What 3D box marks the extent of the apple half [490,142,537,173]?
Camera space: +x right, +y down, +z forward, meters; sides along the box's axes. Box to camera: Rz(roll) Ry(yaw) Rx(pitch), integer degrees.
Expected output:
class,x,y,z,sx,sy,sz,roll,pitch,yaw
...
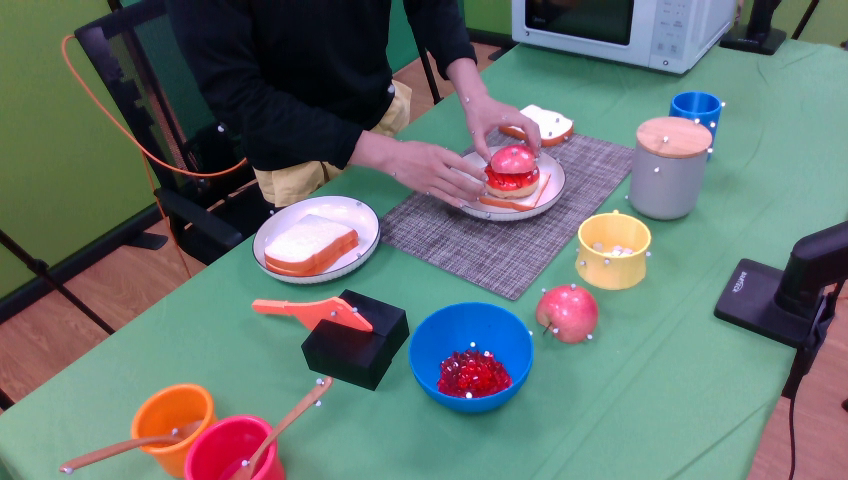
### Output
class,x,y,z,sx,sy,sz,roll,pitch,yaw
apple half,0.146,-0.140,0.989,0.081,0.033,0.081,-4,36,3

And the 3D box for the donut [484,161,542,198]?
class,x,y,z,sx,sy,sz,roll,pitch,yaw
donut,0.149,-0.109,1.016,0.099,0.048,0.098,-4,41,4

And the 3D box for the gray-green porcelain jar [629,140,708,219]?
class,x,y,z,sx,sy,sz,roll,pitch,yaw
gray-green porcelain jar,0.383,-0.105,0.958,0.106,0.127,0.105,-4,41,4

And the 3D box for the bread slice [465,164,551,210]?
class,x,y,z,sx,sy,sz,roll,pitch,yaw
bread slice,0.140,-0.094,1.041,0.133,0.018,0.107,10,42,21

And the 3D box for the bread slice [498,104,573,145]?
class,x,y,z,sx,sy,sz,roll,pitch,yaw
bread slice,0.231,-0.231,1.205,0.105,0.019,0.130,-36,47,-29

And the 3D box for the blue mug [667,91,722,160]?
class,x,y,z,sx,sy,sz,roll,pitch,yaw
blue mug,0.473,-0.207,1.079,0.082,0.106,0.116,4,42,13

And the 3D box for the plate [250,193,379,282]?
class,x,y,z,sx,sy,sz,roll,pitch,yaw
plate,-0.174,-0.001,0.984,0.209,0.038,0.208,-3,40,3

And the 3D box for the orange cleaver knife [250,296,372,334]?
class,x,y,z,sx,sy,sz,roll,pitch,yaw
orange cleaver knife,-0.158,0.103,0.828,0.210,0.078,0.012,-4,43,39

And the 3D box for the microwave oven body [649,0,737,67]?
class,x,y,z,sx,sy,sz,roll,pitch,yaw
microwave oven body,0.475,-0.602,1.411,0.438,0.261,0.327,23,50,32

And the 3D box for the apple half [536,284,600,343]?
class,x,y,z,sx,sy,sz,roll,pitch,yaw
apple half,0.196,0.091,0.815,0.075,0.053,0.080,-22,42,-20

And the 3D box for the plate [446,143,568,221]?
class,x,y,z,sx,sy,sz,roll,pitch,yaw
plate,0.142,-0.097,1.045,0.207,0.039,0.206,-4,41,4

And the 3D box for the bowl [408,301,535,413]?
class,x,y,z,sx,sy,sz,roll,pitch,yaw
bowl,0.060,0.156,0.739,0.151,0.077,0.150,-4,40,4

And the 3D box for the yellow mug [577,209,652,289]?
class,x,y,z,sx,sy,sz,roll,pitch,yaw
yellow mug,0.279,0.004,0.893,0.099,0.064,0.130,5,42,14

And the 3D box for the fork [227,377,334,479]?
class,x,y,z,sx,sy,sz,roll,pitch,yaw
fork,-0.163,0.216,0.647,0.207,0.019,0.028,-49,41,16

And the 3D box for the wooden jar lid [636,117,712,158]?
class,x,y,z,sx,sy,sz,roll,pitch,yaw
wooden jar lid,0.377,-0.151,0.917,0.108,0.021,0.108,-2,42,3

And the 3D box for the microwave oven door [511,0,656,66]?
class,x,y,z,sx,sy,sz,roll,pitch,yaw
microwave oven door,0.351,-0.539,1.348,0.353,0.245,0.039,24,50,31

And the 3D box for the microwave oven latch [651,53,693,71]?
class,x,y,z,sx,sy,sz,roll,pitch,yaw
microwave oven latch,0.532,-0.387,1.301,0.078,0.029,0.030,27,52,34

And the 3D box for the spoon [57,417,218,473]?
class,x,y,z,sx,sy,sz,roll,pitch,yaw
spoon,-0.304,0.221,0.661,0.041,0.195,0.021,19,93,27
